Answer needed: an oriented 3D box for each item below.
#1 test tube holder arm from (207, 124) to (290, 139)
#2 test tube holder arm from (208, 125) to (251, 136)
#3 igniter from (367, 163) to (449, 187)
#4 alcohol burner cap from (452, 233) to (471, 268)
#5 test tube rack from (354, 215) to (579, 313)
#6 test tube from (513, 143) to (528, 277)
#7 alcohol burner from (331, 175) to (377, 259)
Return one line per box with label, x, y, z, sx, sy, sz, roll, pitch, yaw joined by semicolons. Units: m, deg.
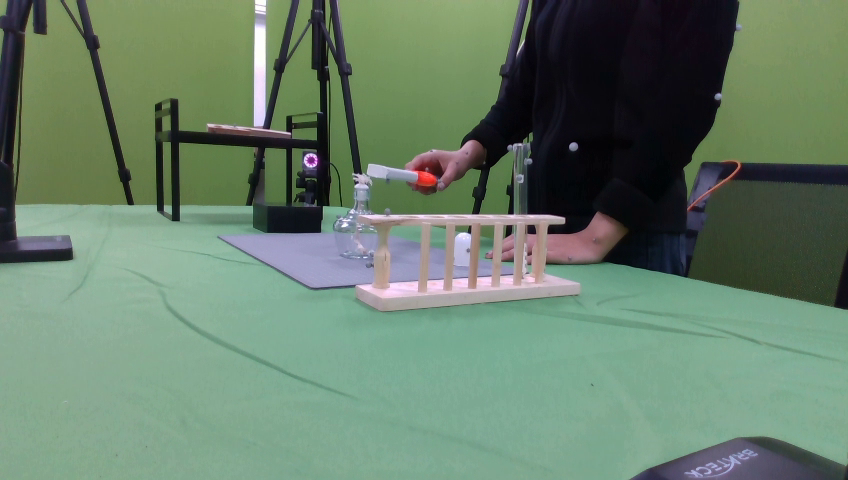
test tube holder arm;-0.381;-0.237;1.327;0.179;0.015;0.013;0;41;-32
test tube holder arm;-0.418;-0.234;1.299;0.088;0.015;0.010;1;41;-31
igniter;-0.018;-0.104;0.994;0.057;0.025;0.277;14;7;20
alcohol burner cap;0.053;0.014;0.823;0.034;0.048;0.034;3;6;0
test tube rack;0.053;0.019;0.635;0.243;0.085;0.066;-1;8;-29
test tube;0.108;-0.033;0.677;0.017;0.150;0.017;-1;8;1
alcohol burner;-0.091;-0.033;0.855;0.078;0.119;0.078;4;7;0
